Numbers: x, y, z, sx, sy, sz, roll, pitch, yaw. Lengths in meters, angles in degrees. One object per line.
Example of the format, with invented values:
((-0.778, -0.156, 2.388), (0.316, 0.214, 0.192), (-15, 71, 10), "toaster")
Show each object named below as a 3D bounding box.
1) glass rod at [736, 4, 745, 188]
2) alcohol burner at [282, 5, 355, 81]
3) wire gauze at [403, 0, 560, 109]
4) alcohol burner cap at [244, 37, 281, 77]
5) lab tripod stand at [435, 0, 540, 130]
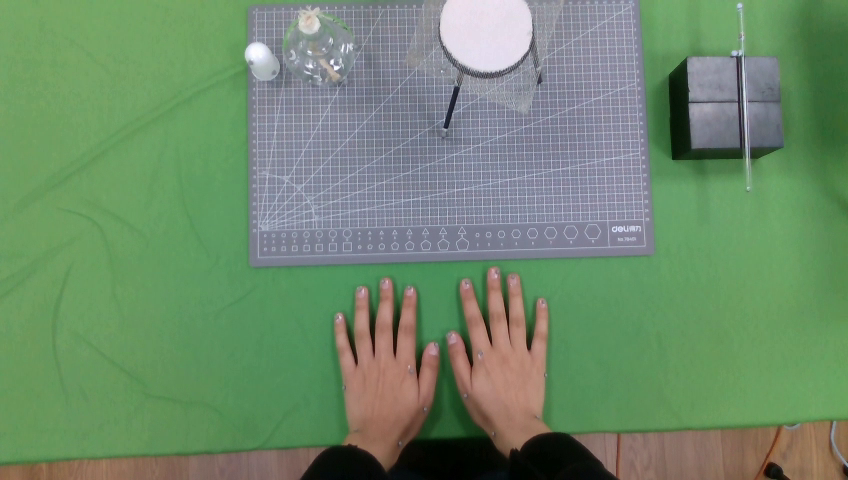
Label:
((0.336, -0.154, 0.643), (0.008, 0.008, 0.199), (2, 85, 0), "glass rod")
((-0.113, -0.212, 0.632), (0.078, 0.119, 0.077), (0, 84, -2), "alcohol burner")
((0.056, -0.198, 0.557), (0.125, 0.011, 0.121), (20, 85, 0), "wire gauze")
((-0.179, -0.204, 0.666), (0.034, 0.048, 0.034), (0, 84, 3), "alcohol burner cap")
((0.059, -0.193, 0.624), (0.148, 0.132, 0.148), (0, 83, -2), "lab tripod stand")
